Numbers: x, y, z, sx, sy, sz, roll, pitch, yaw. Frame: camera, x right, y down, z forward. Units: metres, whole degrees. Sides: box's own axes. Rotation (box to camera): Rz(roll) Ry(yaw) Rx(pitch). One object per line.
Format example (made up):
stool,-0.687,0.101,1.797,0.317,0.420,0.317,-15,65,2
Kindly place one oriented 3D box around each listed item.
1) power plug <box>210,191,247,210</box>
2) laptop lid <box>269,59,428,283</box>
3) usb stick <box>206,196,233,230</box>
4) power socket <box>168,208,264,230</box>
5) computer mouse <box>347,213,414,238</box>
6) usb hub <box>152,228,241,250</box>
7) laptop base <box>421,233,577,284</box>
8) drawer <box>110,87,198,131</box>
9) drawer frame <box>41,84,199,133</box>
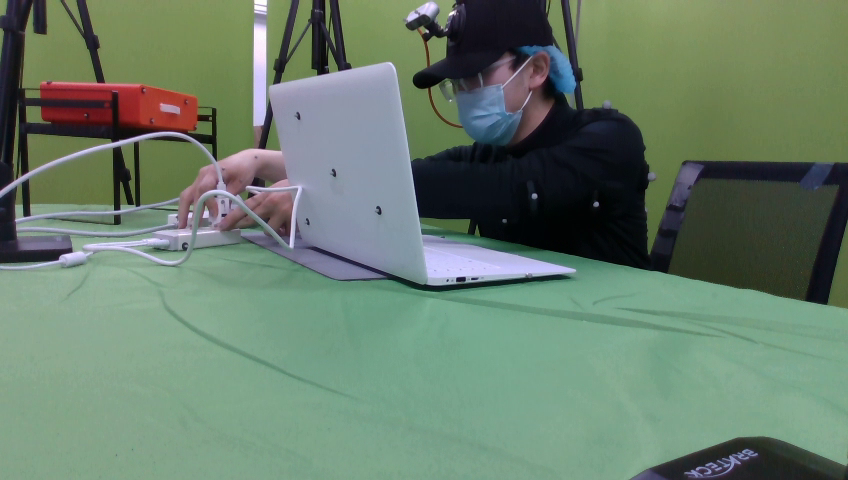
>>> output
power plug,-0.386,-0.071,1.204,0.072,0.052,0.035,7,11,25
laptop lid,-0.110,-0.087,0.752,0.013,0.241,0.355,-18,19,-30
usb stick,-0.319,-0.037,0.939,0.027,0.059,0.021,13,0,21
power socket,-0.381,-0.038,1.128,0.072,0.032,0.227,4,8,17
computer mouse,-0.079,-0.025,1.080,0.117,0.041,0.062,-5,12,-18
usb hub,-0.337,-0.003,0.906,0.049,0.025,0.126,8,7,29
laptop base,0.007,0.021,0.850,0.237,0.023,0.352,1,7,-34
drawer,-0.602,-0.263,1.225,0.211,0.073,0.195,3,8,10
drawer frame,-0.604,-0.264,1.225,0.213,0.082,0.202,3,8,8
